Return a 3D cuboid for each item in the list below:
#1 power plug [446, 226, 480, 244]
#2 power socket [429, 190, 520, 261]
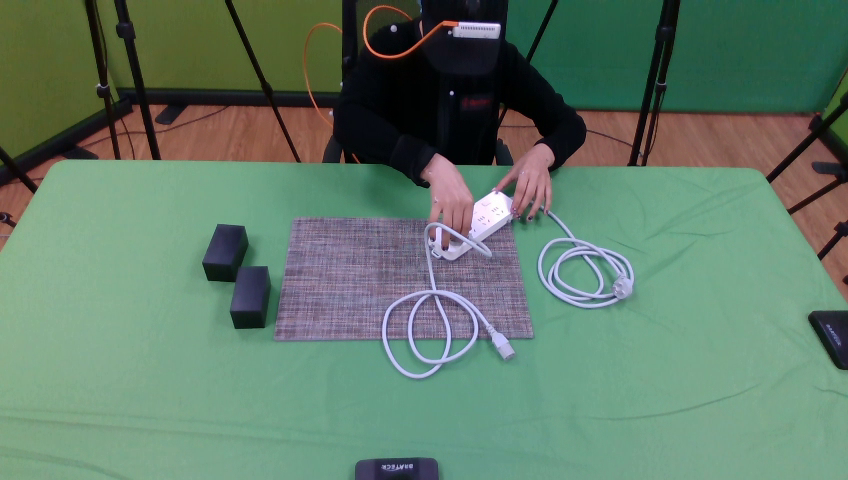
[{"bbox_3d":[0.071,0.004,1.155,0.035,0.053,0.072,-22,52,-24],"label":"power plug"},{"bbox_3d":[0.104,-0.032,1.222,0.227,0.033,0.072,-33,57,-30],"label":"power socket"}]
